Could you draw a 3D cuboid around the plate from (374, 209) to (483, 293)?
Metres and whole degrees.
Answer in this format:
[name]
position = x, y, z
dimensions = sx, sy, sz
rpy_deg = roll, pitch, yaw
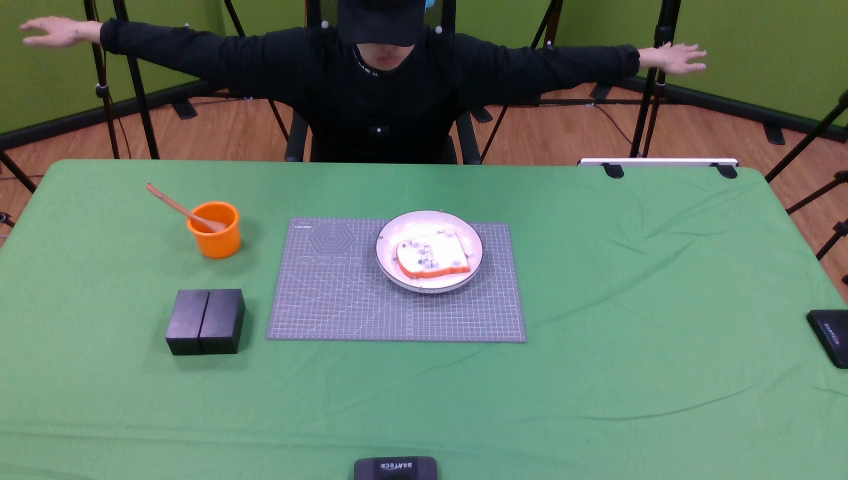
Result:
[plate]
position = 0.009, 0.024, 1.160
dimensions = 0.209, 0.038, 0.208
rpy_deg = 2, 46, -2

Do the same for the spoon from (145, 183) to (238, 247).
[spoon]
position = -0.424, -0.045, 1.114
dimensions = 0.195, 0.021, 0.041
rpy_deg = 34, 40, -28

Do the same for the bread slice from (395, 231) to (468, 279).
[bread slice]
position = 0.011, 0.030, 1.158
dimensions = 0.132, 0.019, 0.104
rpy_deg = -9, 47, -14
